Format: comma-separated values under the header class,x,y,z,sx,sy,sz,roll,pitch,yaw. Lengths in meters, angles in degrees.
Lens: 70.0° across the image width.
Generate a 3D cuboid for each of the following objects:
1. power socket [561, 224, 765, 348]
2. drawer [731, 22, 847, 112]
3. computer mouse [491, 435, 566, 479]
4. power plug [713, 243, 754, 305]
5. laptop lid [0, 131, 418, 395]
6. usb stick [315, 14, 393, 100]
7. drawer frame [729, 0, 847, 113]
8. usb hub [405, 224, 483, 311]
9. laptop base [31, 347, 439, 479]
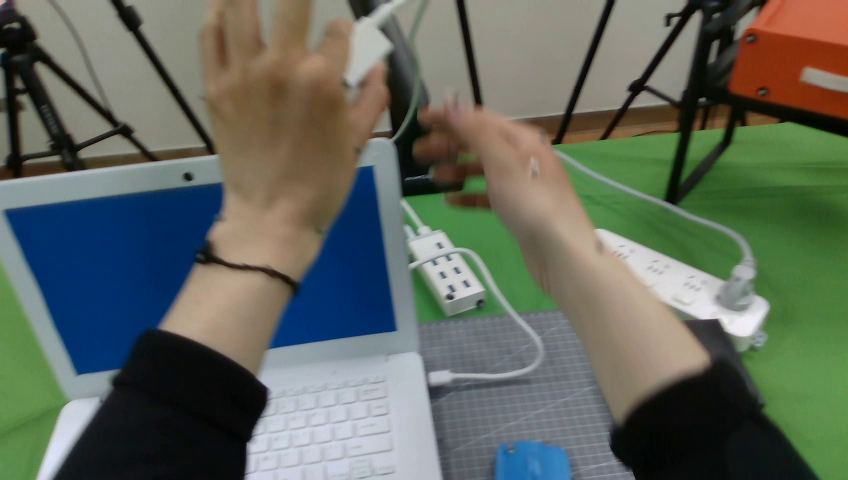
class,x,y,z,sx,sy,sz,roll,pitch,yaw
power socket,0.263,0.045,0.679,0.224,0.033,0.072,29,49,33
drawer,0.468,-0.214,0.654,0.193,0.074,0.211,23,46,29
computer mouse,0.084,0.207,0.492,0.062,0.041,0.116,1,36,9
power plug,0.336,0.043,0.641,0.072,0.053,0.035,-30,45,-25
laptop lid,-0.190,0.031,0.558,0.357,0.243,0.013,-9,28,-3
usb stick,-0.048,-0.113,0.382,0.059,0.027,0.021,-53,19,-23
drawer frame,0.469,-0.217,0.655,0.200,0.083,0.213,22,46,28
usb hub,0.021,0.030,0.719,0.049,0.025,0.123,-17,42,-15
laptop base,-0.164,0.211,0.525,0.355,0.023,0.233,-7,44,-4
